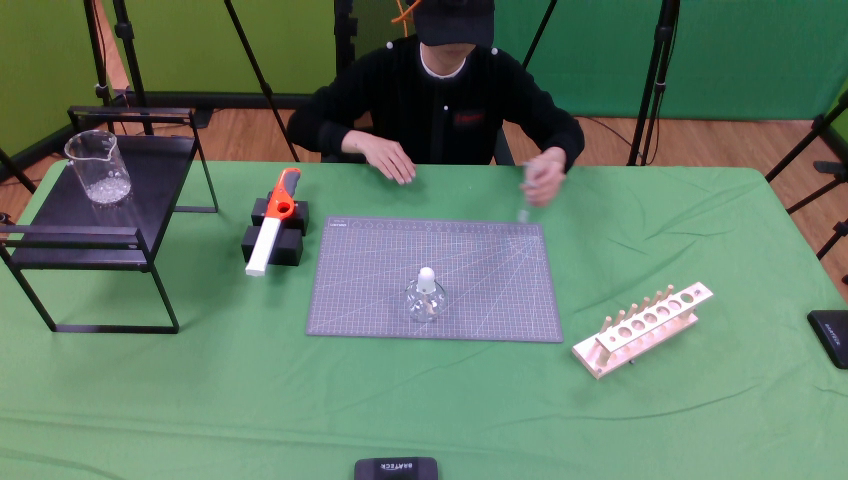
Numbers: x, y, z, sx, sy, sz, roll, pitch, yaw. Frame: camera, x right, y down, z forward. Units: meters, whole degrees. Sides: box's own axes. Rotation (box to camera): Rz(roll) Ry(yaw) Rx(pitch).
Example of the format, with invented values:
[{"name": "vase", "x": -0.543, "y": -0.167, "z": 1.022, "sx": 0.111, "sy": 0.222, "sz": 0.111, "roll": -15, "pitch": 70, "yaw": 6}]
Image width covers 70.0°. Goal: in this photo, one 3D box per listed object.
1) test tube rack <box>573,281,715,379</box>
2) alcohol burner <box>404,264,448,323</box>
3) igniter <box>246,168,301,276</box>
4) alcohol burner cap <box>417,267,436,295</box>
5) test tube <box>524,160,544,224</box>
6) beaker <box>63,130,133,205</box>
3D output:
[{"name": "test tube rack", "x": 0.378, "y": 0.140, "z": 1.038, "sx": 0.242, "sy": 0.085, "sz": 0.066, "roll": -22, "pitch": 51, "yaw": -23}, {"name": "alcohol burner", "x": 0.003, "y": 0.087, "z": 1.042, "sx": 0.078, "sy": 0.120, "sz": 0.077, "roll": 1, "pitch": 45, "yaw": 0}, {"name": "igniter", "x": -0.282, "y": -0.044, "z": 1.149, "sx": 0.057, "sy": 0.025, "sz": 0.275, "roll": 8, "pitch": 48, "yaw": 0}, {"name": "alcohol burner cap", "x": 0.004, "y": 0.066, "z": 1.019, "sx": 0.034, "sy": 0.048, "sz": 0.033, "roll": 0, "pitch": 47, "yaw": 1}, {"name": "test tube", "x": 0.190, "y": -0.079, "z": 1.053, "sx": 0.017, "sy": 0.151, "sz": 0.017, "roll": 0, "pitch": 51, "yaw": 0}, {"name": "beaker", "x": -0.511, "y": -0.112, "z": 0.964, "sx": 0.083, "sy": 0.101, "sz": 0.074, "roll": 31, "pitch": 52, "yaw": 23}]
